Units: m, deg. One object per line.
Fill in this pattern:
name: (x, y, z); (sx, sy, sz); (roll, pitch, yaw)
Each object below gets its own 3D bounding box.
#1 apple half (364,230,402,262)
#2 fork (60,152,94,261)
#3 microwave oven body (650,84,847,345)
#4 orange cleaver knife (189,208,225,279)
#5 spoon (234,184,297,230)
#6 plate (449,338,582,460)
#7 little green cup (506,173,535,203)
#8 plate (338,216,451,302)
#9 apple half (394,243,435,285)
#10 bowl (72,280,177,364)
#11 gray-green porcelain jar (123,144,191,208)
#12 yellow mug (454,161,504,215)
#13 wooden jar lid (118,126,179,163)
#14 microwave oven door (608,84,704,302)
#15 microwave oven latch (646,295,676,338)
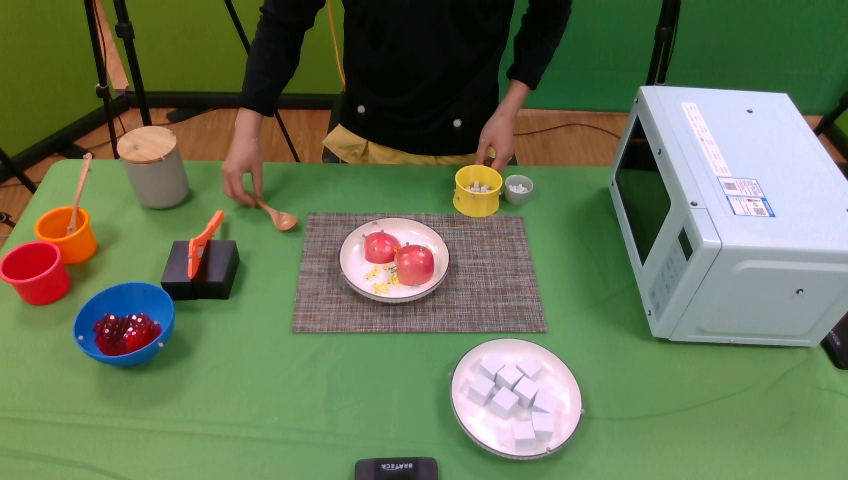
apple half: (-0.079, 0.004, 1.159); (0.081, 0.033, 0.081); (3, 49, -3)
fork: (-0.638, -0.063, 1.119); (0.028, 0.018, 0.207); (12, 90, 8)
microwave oven body: (0.569, -0.054, 1.116); (0.326, 0.261, 0.439); (2, 46, -1)
orange cleaver knife: (-0.400, 0.002, 1.122); (0.012, 0.077, 0.210); (4, 23, -4)
spoon: (-0.327, -0.073, 1.239); (0.193, 0.022, 0.041); (34, 69, 25)
plate: (0.141, 0.251, 0.956); (0.208, 0.039, 0.206); (2, 47, -2)
little green cup: (0.204, -0.110, 1.301); (0.061, 0.039, 0.061); (3, 44, -2)
plate: (-0.054, 0.038, 1.138); (0.209, 0.038, 0.208); (2, 46, -2)
apple half: (-0.016, 0.036, 1.120); (0.075, 0.053, 0.080); (1, 46, -6)
bowl: (-0.472, 0.147, 0.982); (0.151, 0.077, 0.150); (2, 46, -2)
gray-green porcelain jar: (-0.531, -0.137, 1.213); (0.106, 0.127, 0.105); (2, 46, -2)
yellow mug: (0.118, -0.118, 1.283); (0.100, 0.064, 0.130); (8, 43, 6)
wooden jar lid: (-0.528, -0.181, 1.167); (0.108, 0.021, 0.107); (3, 47, -4)
microwave oven door: (0.424, -0.096, 1.138); (0.039, 0.245, 0.353); (3, 46, -1)
microwave oven latch: (0.412, 0.133, 1.060); (0.030, 0.029, 0.078); (3, 46, 0)
